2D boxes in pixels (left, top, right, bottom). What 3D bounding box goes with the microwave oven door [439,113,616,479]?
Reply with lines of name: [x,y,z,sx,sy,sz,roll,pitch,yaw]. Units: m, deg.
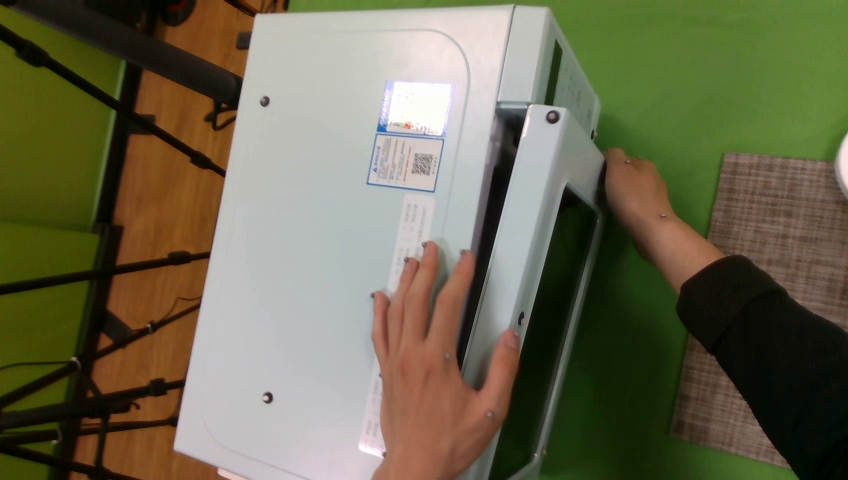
microwave oven door: [0.100,0.087,0.565,0.039,0.245,0.355,15,90,27]

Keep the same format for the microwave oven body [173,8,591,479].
microwave oven body: [-0.034,0.024,0.641,0.324,0.262,0.441,9,88,26]

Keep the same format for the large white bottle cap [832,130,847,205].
large white bottle cap: [0.445,-0.070,0.558,0.114,0.018,0.114,-4,82,25]

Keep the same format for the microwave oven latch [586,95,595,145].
microwave oven latch: [0.170,-0.119,0.669,0.030,0.030,0.079,9,89,26]
